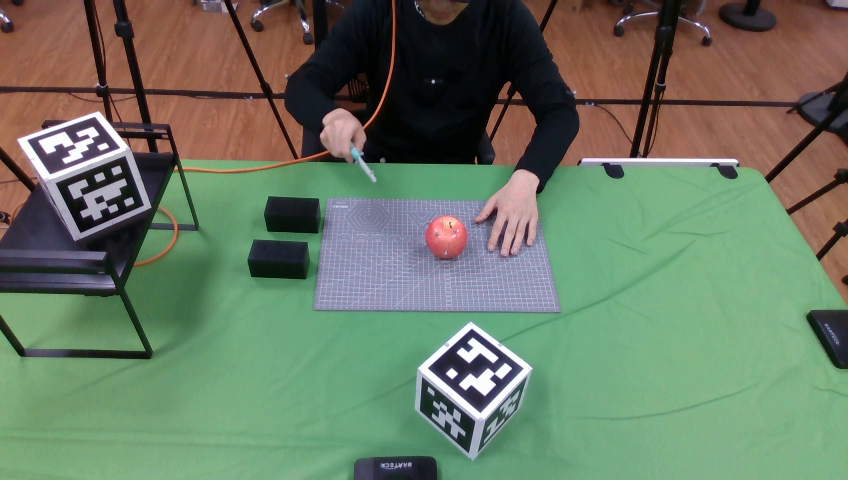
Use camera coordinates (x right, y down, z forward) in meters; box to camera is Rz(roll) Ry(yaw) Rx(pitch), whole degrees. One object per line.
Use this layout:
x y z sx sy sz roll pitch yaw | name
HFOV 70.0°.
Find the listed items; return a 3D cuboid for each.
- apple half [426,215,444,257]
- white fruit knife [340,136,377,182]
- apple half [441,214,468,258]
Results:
0.019 -0.006 1.158 0.033 0.081 0.081 4 46 -7 | apple half
-0.119 -0.149 1.102 0.016 0.027 0.206 -24 36 -12 | white fruit knife
0.058 -0.005 1.162 0.053 0.075 0.080 4 42 -7 | apple half
